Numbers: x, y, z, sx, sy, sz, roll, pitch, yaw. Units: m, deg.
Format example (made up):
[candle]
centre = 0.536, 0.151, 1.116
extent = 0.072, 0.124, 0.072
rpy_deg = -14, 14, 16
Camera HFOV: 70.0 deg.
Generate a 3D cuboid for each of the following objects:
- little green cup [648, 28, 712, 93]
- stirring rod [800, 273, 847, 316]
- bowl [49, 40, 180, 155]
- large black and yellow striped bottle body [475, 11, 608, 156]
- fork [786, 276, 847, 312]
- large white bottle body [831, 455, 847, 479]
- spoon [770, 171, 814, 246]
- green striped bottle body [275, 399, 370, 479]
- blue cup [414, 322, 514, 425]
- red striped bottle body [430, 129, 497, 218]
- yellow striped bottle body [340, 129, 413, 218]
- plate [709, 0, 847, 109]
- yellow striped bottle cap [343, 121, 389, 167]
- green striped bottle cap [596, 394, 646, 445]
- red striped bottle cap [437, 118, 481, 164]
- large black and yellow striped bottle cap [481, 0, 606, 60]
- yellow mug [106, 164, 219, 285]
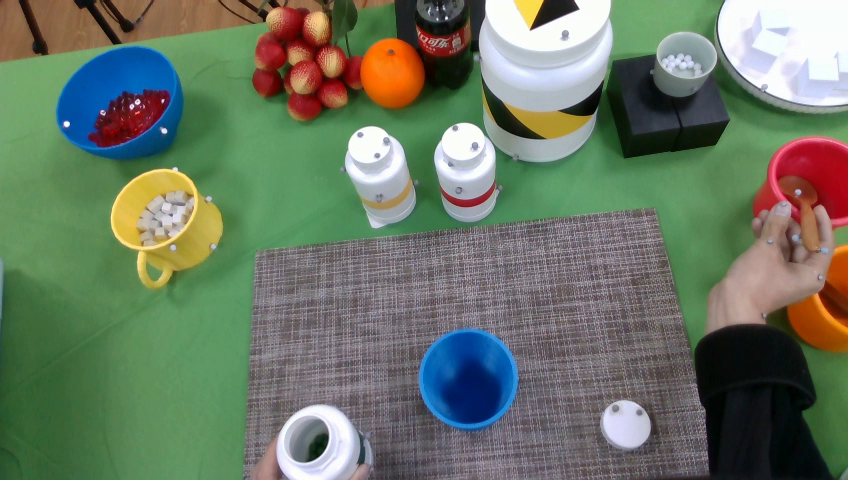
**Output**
[little green cup]
centre = 0.271, -0.191, 0.650
extent = 0.061, 0.039, 0.061
rpy_deg = -2, 66, 5
[stirring rod]
centre = 0.383, 0.070, 0.529
extent = 0.014, 0.006, 0.175
rpy_deg = -5, 23, 3
[bowl]
centre = -0.363, -0.160, 0.746
extent = 0.151, 0.077, 0.150
rpy_deg = -2, 67, 5
[large black and yellow striped bottle body]
centre = 0.121, -0.187, 0.642
extent = 0.130, 0.185, 0.130
rpy_deg = -2, 67, 6
[fork]
centre = 0.413, 0.067, 0.519
extent = 0.028, 0.019, 0.205
rpy_deg = -43, 25, -10
[large white bottle body]
centre = 0.406, 0.205, 0.442
extent = 0.130, 0.186, 0.129
rpy_deg = -3, 66, 6
[spoon]
centre = 0.352, -0.034, 0.572
extent = 0.041, 0.193, 0.022
rpy_deg = 25, 117, 17
[green striped bottle body]
centre = -0.085, 0.173, 0.512
extent = 0.063, 0.120, 0.062
rpy_deg = -2, 63, 4
[blue cup]
centre = 0.038, 0.131, 0.559
extent = 0.092, 0.101, 0.092
rpy_deg = -2, 66, 5
[red striped bottle body]
centre = 0.042, -0.076, 0.640
extent = 0.063, 0.121, 0.062
rpy_deg = -4, 65, 10
[yellow striped bottle body]
centre = -0.051, -0.076, 0.650
extent = 0.063, 0.121, 0.062
rpy_deg = -3, 67, 7
[plate]
centre = 0.437, -0.237, 0.704
extent = 0.209, 0.038, 0.207
rpy_deg = -2, 68, 6
[yellow striped bottle cap]
centre = -0.058, -0.096, 0.603
extent = 0.044, 0.019, 0.044
rpy_deg = -2, 68, 5
[green striped bottle cap]
centre = 0.186, 0.169, 0.571
extent = 0.044, 0.020, 0.044
rpy_deg = -3, 57, 4
[red striped bottle cap]
centre = 0.034, -0.097, 0.592
extent = 0.044, 0.018, 0.044
rpy_deg = -1, 66, 3
[large black and yellow striped bottle cap]
centre = 0.110, -0.219, 0.564
extent = 0.115, 0.019, 0.114
rpy_deg = -3, 66, 7
[yellow mug]
centre = -0.297, -0.013, 0.683
extent = 0.100, 0.064, 0.130
rpy_deg = 3, 68, 7
